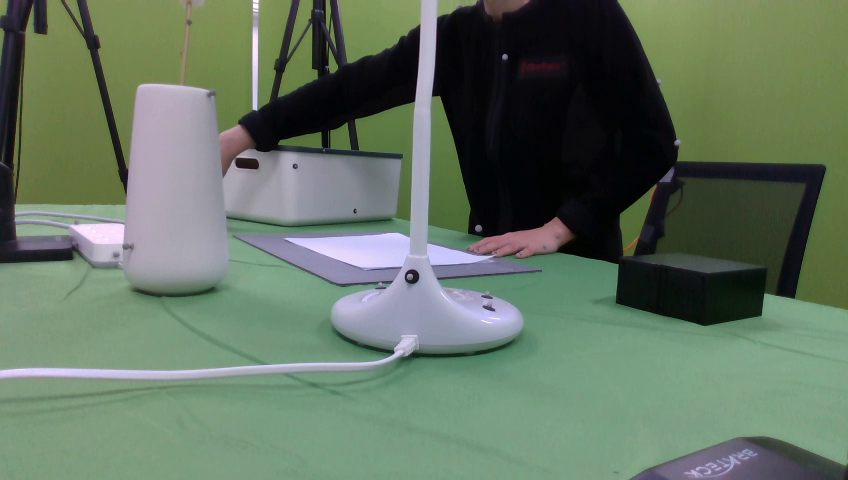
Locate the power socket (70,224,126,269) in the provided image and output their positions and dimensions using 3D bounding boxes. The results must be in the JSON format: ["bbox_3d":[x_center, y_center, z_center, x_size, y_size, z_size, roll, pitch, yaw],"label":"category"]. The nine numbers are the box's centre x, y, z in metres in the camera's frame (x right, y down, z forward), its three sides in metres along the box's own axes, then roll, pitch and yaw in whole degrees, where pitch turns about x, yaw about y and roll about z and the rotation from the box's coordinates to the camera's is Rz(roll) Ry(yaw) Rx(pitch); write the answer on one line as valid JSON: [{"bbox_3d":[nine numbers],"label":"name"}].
[{"bbox_3d":[-0.409,0.004,0.792,0.072,0.032,0.225,-2,8,-37],"label":"power socket"}]

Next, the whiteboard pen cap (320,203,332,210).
[{"bbox_3d":[-0.247,-0.084,1.531,0.033,0.018,0.018,9,10,39],"label":"whiteboard pen cap"}]

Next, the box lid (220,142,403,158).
[{"bbox_3d":[-0.252,-0.202,1.368,0.262,0.015,0.373,9,9,36],"label":"box lid"}]

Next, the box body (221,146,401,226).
[{"bbox_3d":[-0.254,-0.128,1.379,0.253,0.160,0.366,8,9,36],"label":"box body"}]

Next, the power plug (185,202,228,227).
[{"bbox_3d":[-0.408,-0.044,1.151,0.072,0.052,0.035,-17,4,15],"label":"power plug"}]

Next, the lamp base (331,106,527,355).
[{"bbox_3d":[0.006,-0.012,0.478,0.161,0.180,0.179,2,10,2],"label":"lamp base"}]

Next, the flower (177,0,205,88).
[{"bbox_3d":[-0.243,-0.131,0.609,0.044,0.361,0.038,-5,-12,11],"label":"flower"}]

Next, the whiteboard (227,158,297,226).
[{"bbox_3d":[-0.265,-0.116,1.372,0.216,0.143,0.307,4,7,35],"label":"whiteboard"}]

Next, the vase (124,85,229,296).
[{"bbox_3d":[-0.244,-0.047,0.598,0.098,0.200,0.098,3,8,0],"label":"vase"}]
